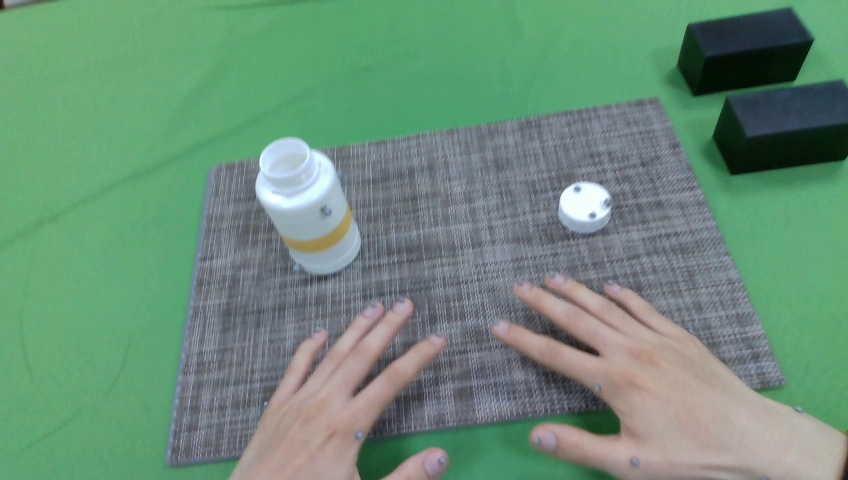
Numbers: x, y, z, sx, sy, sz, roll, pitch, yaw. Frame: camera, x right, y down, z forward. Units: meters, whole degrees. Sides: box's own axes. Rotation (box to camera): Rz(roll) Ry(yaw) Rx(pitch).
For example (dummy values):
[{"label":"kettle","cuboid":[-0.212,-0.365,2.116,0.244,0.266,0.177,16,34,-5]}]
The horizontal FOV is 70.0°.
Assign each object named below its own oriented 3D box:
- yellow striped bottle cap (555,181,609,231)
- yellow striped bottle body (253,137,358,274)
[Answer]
[{"label":"yellow striped bottle cap","cuboid":[0.137,-0.030,0.523,0.044,0.019,0.044,-3,55,4]},{"label":"yellow striped bottle body","cuboid":[-0.096,-0.029,0.492,0.063,0.121,0.062,-4,55,6]}]
